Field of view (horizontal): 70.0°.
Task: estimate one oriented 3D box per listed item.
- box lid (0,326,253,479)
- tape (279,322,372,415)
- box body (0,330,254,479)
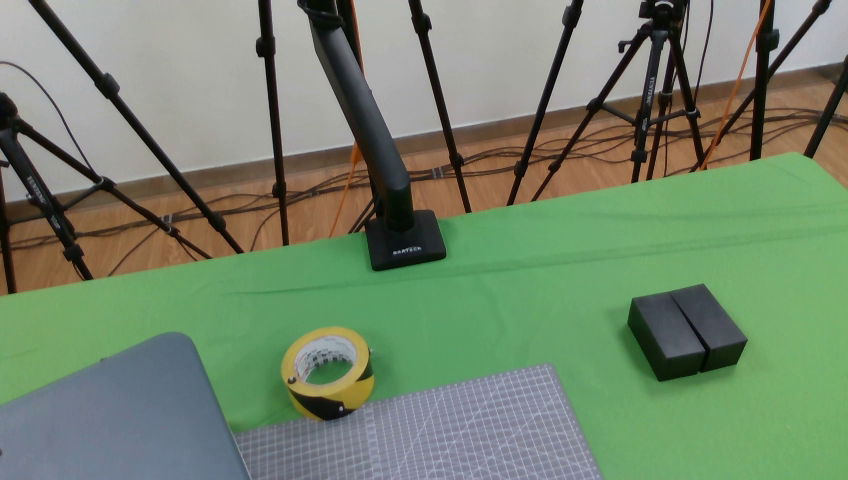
[{"bbox_3d":[-0.354,0.235,0.535,0.372,0.015,0.260,-25,47,-20],"label":"box lid"},{"bbox_3d":[-0.126,0.163,0.779,0.117,0.053,0.115,-3,41,3],"label":"tape"},{"bbox_3d":[-0.350,0.289,0.586,0.364,0.162,0.251,-26,47,-20],"label":"box body"}]
